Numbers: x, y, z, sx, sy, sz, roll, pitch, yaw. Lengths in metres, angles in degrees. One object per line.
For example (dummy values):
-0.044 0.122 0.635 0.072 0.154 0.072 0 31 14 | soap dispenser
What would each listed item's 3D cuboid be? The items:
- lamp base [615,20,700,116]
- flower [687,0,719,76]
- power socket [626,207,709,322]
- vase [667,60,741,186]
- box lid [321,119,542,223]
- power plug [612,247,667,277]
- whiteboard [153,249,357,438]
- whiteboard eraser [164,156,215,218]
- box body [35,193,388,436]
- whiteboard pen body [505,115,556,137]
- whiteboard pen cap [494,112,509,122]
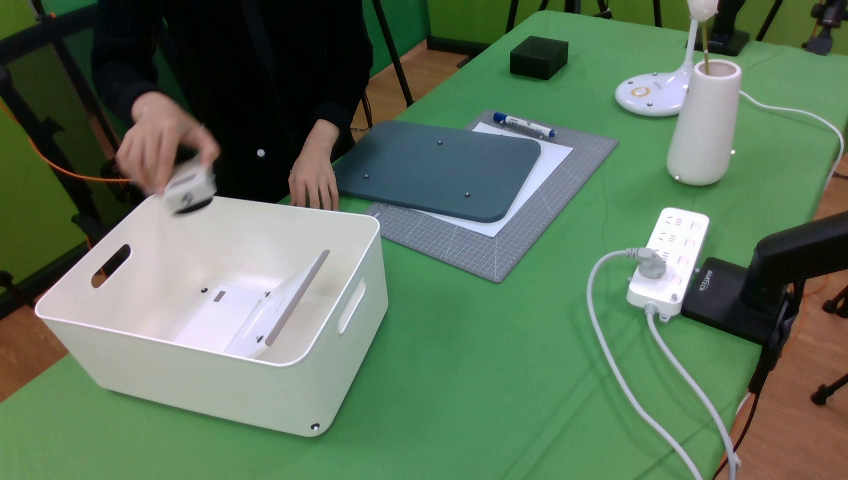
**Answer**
0.484 -0.364 1.211 0.180 0.181 0.159 -15 41 -14 | lamp base
0.436 -0.242 0.934 0.038 0.364 0.043 -24 49 9 | flower
0.360 0.026 0.886 0.072 0.033 0.227 17 46 27 | power socket
0.463 -0.189 0.994 0.098 0.201 0.097 -4 40 3 | vase
0.017 -0.141 1.145 0.369 0.015 0.263 12 44 22 | box lid
0.306 0.031 0.852 0.072 0.053 0.035 21 48 38 | power plug
-0.242 0.100 0.799 0.304 0.144 0.217 8 43 15 | whiteboard
-0.291 -0.066 0.752 0.056 0.042 0.112 -27 32 -8 | whiteboard eraser
-0.251 0.088 0.800 0.362 0.161 0.254 7 42 16 | box body
0.203 -0.232 1.213 0.139 0.017 0.017 27 51 36 | whiteboard pen body
0.161 -0.253 1.248 0.033 0.018 0.018 27 51 36 | whiteboard pen cap
